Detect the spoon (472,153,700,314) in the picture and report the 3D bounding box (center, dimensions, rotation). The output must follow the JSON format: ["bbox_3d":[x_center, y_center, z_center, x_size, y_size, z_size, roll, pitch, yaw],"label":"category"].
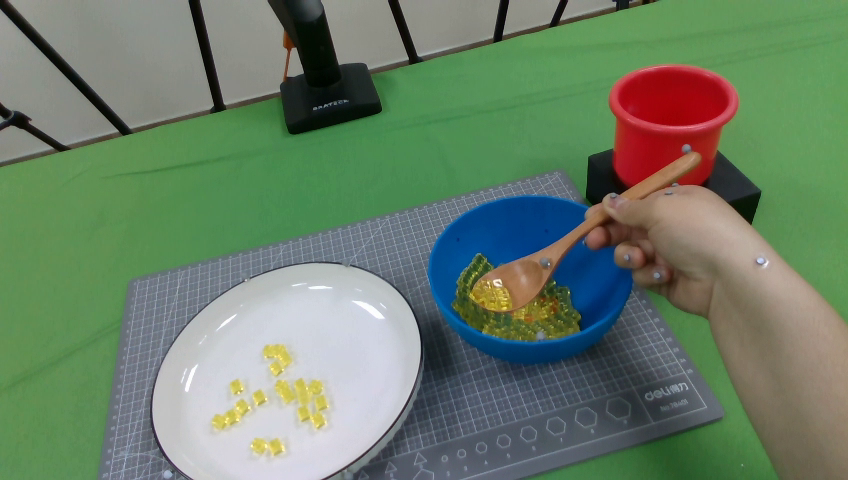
[{"bbox_3d":[0.118,-0.007,0.431,0.194,0.022,0.041,-36,44,1],"label":"spoon"}]

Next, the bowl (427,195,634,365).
[{"bbox_3d":[0.081,0.043,0.470,0.151,0.077,0.150,-5,45,6],"label":"bowl"}]

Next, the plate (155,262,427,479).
[{"bbox_3d":[-0.098,0.104,0.472,0.207,0.039,0.205,-5,44,6],"label":"plate"}]
